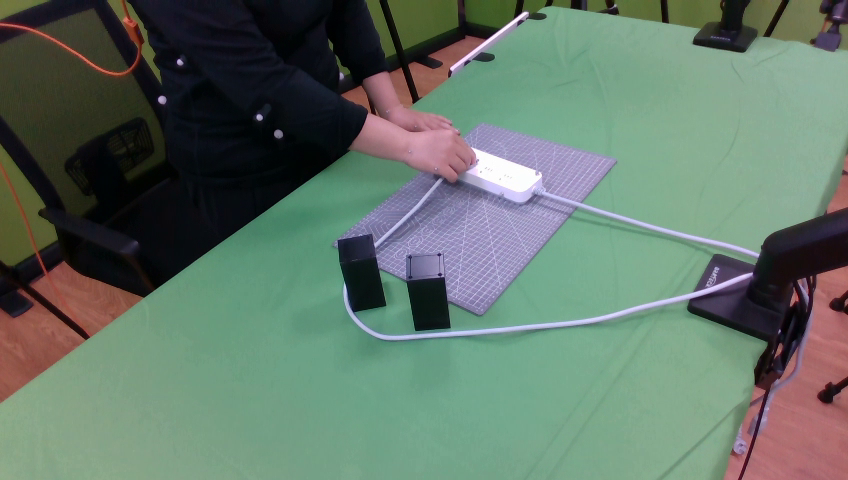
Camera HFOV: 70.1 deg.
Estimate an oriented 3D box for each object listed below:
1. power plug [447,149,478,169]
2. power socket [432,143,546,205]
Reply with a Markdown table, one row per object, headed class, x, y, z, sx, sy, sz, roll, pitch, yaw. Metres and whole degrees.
| class | x | y | z | sx | sy | sz | roll | pitch | yaw |
| --- | --- | --- | --- | --- | --- | --- | --- | --- | --- |
| power plug | 0.063 | -0.134 | 1.075 | 0.073 | 0.053 | 0.035 | -26 | 45 | -23 |
| power socket | 0.111 | -0.122 | 1.085 | 0.225 | 0.033 | 0.072 | 27 | 51 | 33 |
